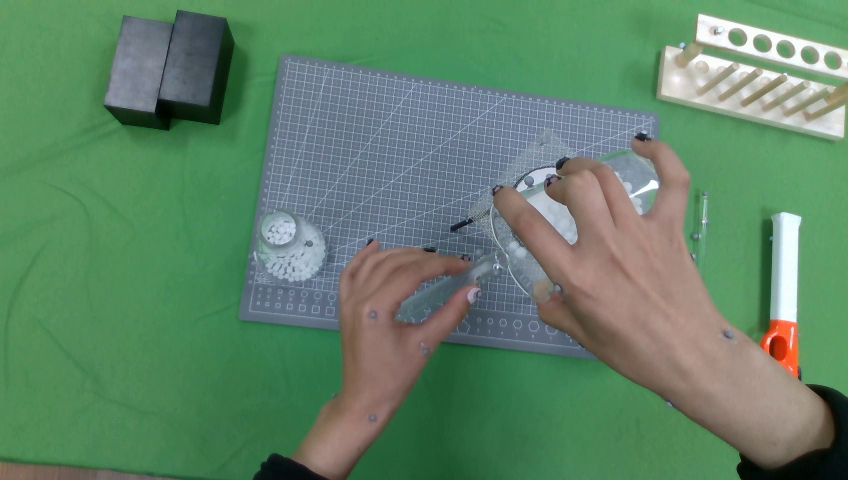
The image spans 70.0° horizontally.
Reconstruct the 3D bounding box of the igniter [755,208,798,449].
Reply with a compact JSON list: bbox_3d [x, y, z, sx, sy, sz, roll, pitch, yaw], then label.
[{"bbox_3d":[0.407,0.099,0.697,0.057,0.025,0.275,11,79,-16],"label":"igniter"}]

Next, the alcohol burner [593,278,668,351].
[{"bbox_3d":[0.223,0.076,0.629,0.078,0.119,0.077,1,79,-5],"label":"alcohol burner"}]

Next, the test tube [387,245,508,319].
[{"bbox_3d":[0.014,0.038,0.488,0.017,0.150,0.017,17,58,-31],"label":"test tube"}]

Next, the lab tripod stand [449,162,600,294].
[{"bbox_3d":[0.107,-0.017,0.619,0.148,0.131,0.148,1,81,-6],"label":"lab tripod stand"}]

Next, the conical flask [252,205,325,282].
[{"bbox_3d":[-0.136,-0.002,0.589,0.075,0.122,0.075,1,80,-7],"label":"conical flask"}]

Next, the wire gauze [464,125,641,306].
[{"bbox_3d":[0.118,-0.026,0.554,0.125,0.011,0.121,44,79,1],"label":"wire gauze"}]

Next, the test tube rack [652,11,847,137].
[{"bbox_3d":[0.407,-0.192,0.717,0.243,0.085,0.066,11,79,-5],"label":"test tube rack"}]

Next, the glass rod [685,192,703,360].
[{"bbox_3d":[0.315,0.040,0.705,0.008,0.008,0.199,9,82,-6],"label":"glass rod"}]

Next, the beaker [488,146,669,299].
[{"bbox_3d":[0.103,-0.014,0.408,0.100,0.084,0.074,-24,86,-13],"label":"beaker"}]

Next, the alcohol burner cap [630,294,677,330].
[{"bbox_3d":[0.228,0.068,0.595,0.034,0.048,0.033,3,74,-11],"label":"alcohol burner cap"}]
